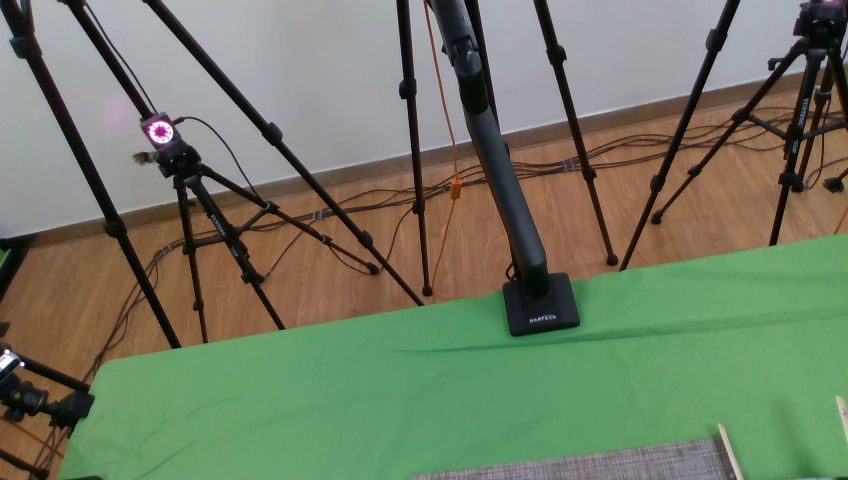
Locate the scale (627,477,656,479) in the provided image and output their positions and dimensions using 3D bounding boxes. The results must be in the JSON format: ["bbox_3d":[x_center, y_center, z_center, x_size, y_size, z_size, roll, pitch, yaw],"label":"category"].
[{"bbox_3d":[0.250,0.403,0.752,0.148,0.032,0.199,-11,47,8],"label":"scale"}]

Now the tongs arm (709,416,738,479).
[{"bbox_3d":[0.421,0.387,0.718,0.028,0.028,0.383,-30,41,23],"label":"tongs arm"}]

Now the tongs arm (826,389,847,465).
[{"bbox_3d":[0.481,0.355,0.674,0.050,0.027,0.381,-22,46,35],"label":"tongs arm"}]
